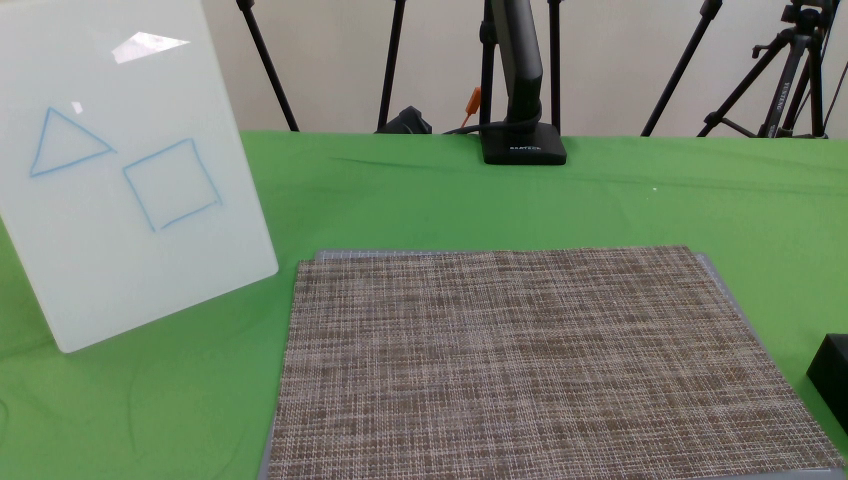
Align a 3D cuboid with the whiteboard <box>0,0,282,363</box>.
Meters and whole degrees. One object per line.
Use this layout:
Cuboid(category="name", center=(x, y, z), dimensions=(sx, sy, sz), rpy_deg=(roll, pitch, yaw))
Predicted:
Cuboid(category="whiteboard", center=(-0.306, -0.075, 0.612), dimensions=(0.217, 0.307, 0.142), rpy_deg=(-23, 22, -28))
